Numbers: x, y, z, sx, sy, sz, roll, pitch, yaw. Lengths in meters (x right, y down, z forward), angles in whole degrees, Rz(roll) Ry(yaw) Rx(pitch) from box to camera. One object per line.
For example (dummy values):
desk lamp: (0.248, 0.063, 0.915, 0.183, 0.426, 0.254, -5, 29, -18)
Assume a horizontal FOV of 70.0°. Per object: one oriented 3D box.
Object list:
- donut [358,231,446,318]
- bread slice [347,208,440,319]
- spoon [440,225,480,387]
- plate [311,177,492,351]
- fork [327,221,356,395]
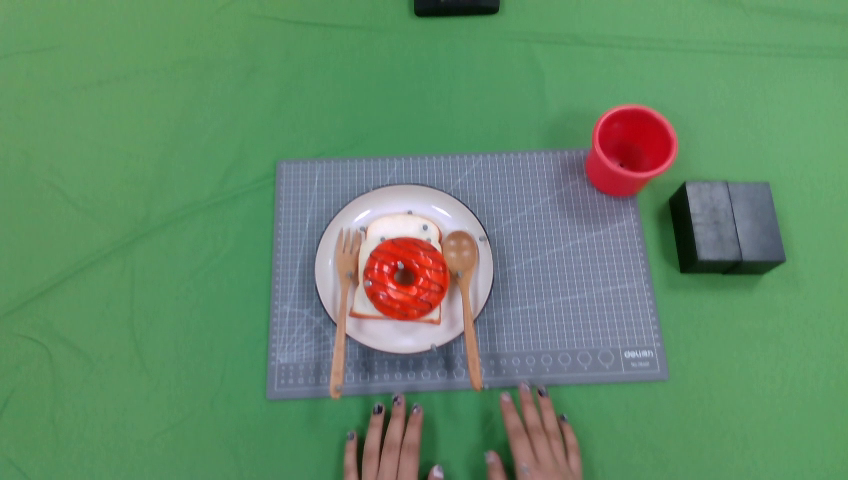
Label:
donut: (-0.024, 0.038, 0.672, 0.099, 0.048, 0.098, 1, 74, -3)
bread slice: (-0.032, 0.024, 0.708, 0.105, 0.019, 0.130, 4, 72, -1)
spoon: (0.044, 0.068, 0.677, 0.041, 0.022, 0.192, -5, 58, 2)
plate: (-0.026, 0.028, 0.704, 0.209, 0.038, 0.207, 0, 71, -1)
fork: (-0.094, 0.069, 0.677, 0.028, 0.019, 0.205, 8, 58, -13)
